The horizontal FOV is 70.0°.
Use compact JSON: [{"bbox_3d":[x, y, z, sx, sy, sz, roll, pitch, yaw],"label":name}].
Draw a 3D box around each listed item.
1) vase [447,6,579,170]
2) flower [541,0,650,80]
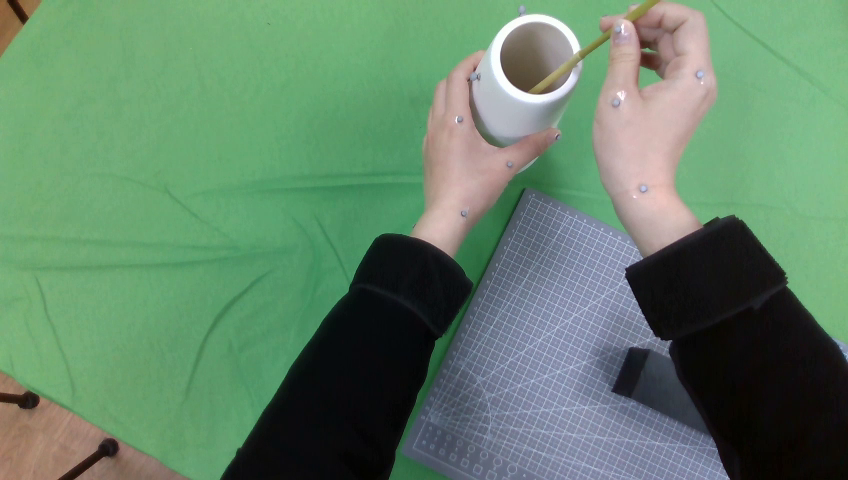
[{"bbox_3d":[0.077,-0.128,0.540,0.098,0.200,0.098,1,83,-4],"label":"vase"},{"bbox_3d":[0.124,-0.142,0.396,0.038,0.361,0.044,26,70,-17],"label":"flower"}]
